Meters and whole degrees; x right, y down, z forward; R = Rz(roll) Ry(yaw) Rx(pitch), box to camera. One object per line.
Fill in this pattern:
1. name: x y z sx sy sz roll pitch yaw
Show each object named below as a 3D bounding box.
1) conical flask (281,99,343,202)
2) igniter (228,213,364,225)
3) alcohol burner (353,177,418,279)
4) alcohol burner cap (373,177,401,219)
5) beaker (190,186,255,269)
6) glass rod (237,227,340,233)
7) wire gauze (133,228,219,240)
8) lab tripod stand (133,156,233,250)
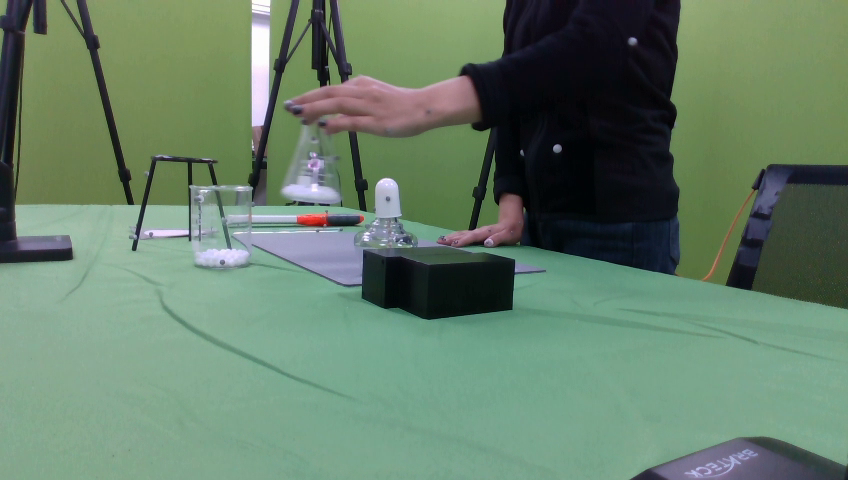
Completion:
1. conical flask: -0.133 -0.109 0.744 0.075 0.122 0.075 6 7 0
2. igniter: -0.252 -0.042 1.227 0.278 0.025 0.057 -2 -2 -32
3. alcohol burner: -0.044 -0.014 0.710 0.078 0.119 0.078 4 9 0
4. alcohol burner cap: -0.044 -0.049 0.704 0.034 0.048 0.034 -3 10 1
5. beaker: -0.253 -0.018 0.754 0.083 0.100 0.074 6 8 32
6. glass rod: -0.248 -0.020 1.124 0.201 0.008 0.008 -2 8 -33
7. wire gauze: -0.421 -0.014 1.024 0.122 0.011 0.124 -2 7 -34
8. lab tripod stand: -0.342 -0.054 0.878 0.148 0.131 0.148 4 6 0
